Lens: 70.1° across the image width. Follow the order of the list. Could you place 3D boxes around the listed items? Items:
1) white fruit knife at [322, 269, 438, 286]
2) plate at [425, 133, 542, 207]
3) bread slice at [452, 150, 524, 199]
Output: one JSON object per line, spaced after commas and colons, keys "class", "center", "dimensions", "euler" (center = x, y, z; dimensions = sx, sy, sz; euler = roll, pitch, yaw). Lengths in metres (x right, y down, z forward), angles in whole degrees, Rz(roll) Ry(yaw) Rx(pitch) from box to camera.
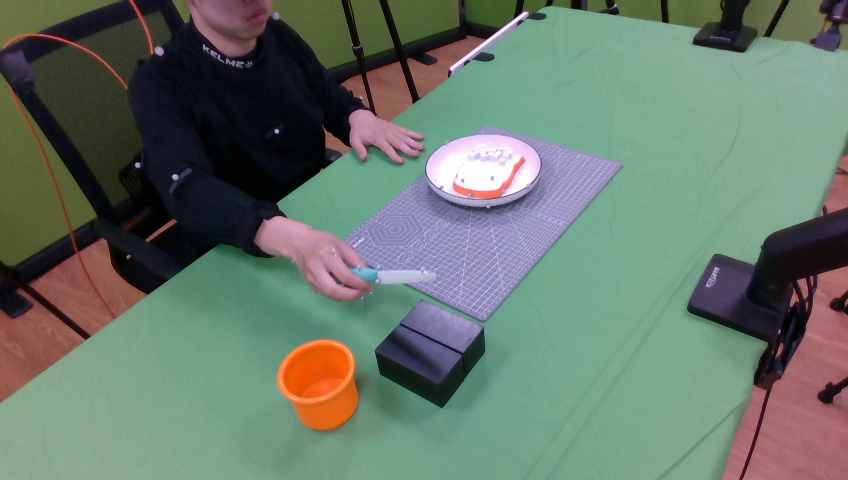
{"class": "white fruit knife", "center": [-0.063, 0.048, 0.786], "dimensions": [0.206, 0.027, 0.016], "euler": [-5, 37, 39]}
{"class": "plate", "center": [0.106, -0.121, 1.079], "dimensions": [0.209, 0.038, 0.208], "euler": [-4, 41, 4]}
{"class": "bread slice", "center": [0.112, -0.118, 1.079], "dimensions": [0.104, 0.019, 0.131], "euler": [11, 42, 21]}
